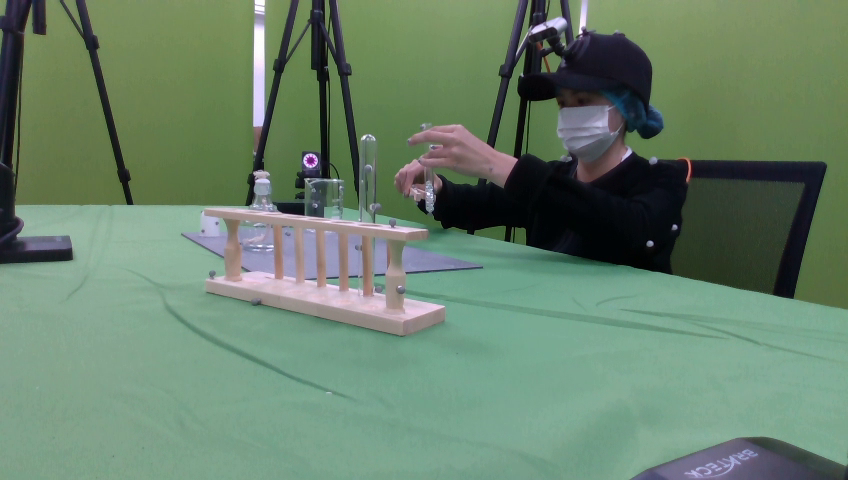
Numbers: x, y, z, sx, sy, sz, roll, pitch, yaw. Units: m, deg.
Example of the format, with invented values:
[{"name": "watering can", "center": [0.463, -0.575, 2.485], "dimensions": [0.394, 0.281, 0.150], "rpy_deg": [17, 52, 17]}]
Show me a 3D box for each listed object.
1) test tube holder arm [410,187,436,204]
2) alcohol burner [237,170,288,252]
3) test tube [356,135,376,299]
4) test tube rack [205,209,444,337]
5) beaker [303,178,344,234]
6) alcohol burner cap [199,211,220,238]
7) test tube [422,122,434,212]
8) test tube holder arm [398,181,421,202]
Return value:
[{"name": "test tube holder arm", "center": [-0.008, -0.079, 1.067], "dimensions": [0.010, 0.015, 0.087], "rpy_deg": [7, 12, -36]}, {"name": "alcohol burner", "center": [-0.236, -0.042, 0.882], "dimensions": [0.078, 0.119, 0.078], "rpy_deg": [2, 9, 0]}, {"name": "test tube", "center": [-0.053, -0.019, 0.550], "dimensions": [0.017, 0.150, 0.017], "rpy_deg": [2, 9, 0]}, {"name": "test tube rack", "center": [-0.100, 0.021, 0.565], "dimensions": [0.241, 0.085, 0.067], "rpy_deg": [7, 9, 32]}, {"name": "beaker", "center": [-0.189, -0.063, 1.119], "dimensions": [0.073, 0.100, 0.084], "rpy_deg": [6, 9, 28]}, {"name": "alcohol burner cap", "center": [-0.356, -0.027, 1.002], "dimensions": [0.034, 0.048, 0.034], "rpy_deg": [3, 7, 0]}, {"name": "test tube", "center": [0.007, -0.118, 0.999], "dimensions": [0.017, 0.150, 0.017], "rpy_deg": [-2, 18, 1]}, {"name": "test tube holder arm", "center": [-0.028, -0.091, 1.104], "dimensions": [0.013, 0.015, 0.178], "rpy_deg": [12, 10, -16]}]
